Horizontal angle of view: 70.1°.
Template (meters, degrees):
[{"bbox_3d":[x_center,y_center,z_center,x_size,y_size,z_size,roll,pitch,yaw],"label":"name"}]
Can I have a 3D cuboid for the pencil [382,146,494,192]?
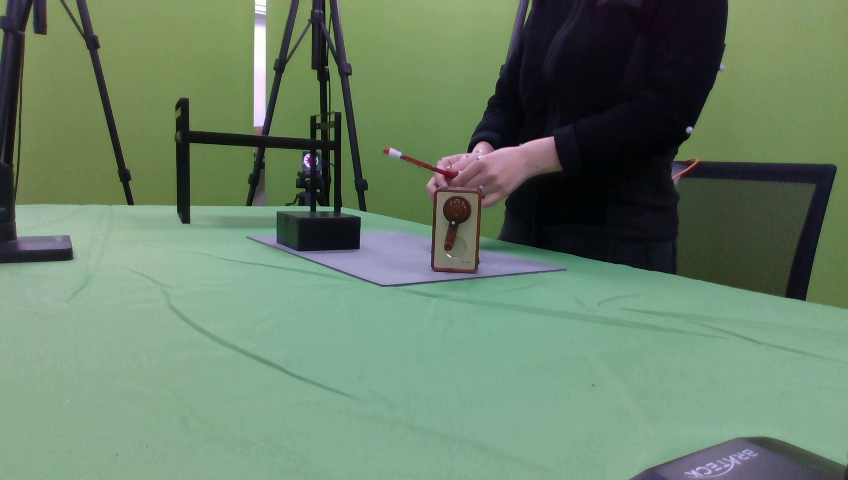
[{"bbox_3d":[0.024,-0.113,0.979,0.194,0.012,0.012,21,6,-6],"label":"pencil"}]

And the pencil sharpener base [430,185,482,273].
[{"bbox_3d":[0.042,-0.015,0.783,0.061,0.107,0.077,3,8,4],"label":"pencil sharpener base"}]

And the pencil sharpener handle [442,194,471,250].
[{"bbox_3d":[0.036,-0.021,0.731,0.036,0.067,0.030,11,8,3],"label":"pencil sharpener handle"}]
